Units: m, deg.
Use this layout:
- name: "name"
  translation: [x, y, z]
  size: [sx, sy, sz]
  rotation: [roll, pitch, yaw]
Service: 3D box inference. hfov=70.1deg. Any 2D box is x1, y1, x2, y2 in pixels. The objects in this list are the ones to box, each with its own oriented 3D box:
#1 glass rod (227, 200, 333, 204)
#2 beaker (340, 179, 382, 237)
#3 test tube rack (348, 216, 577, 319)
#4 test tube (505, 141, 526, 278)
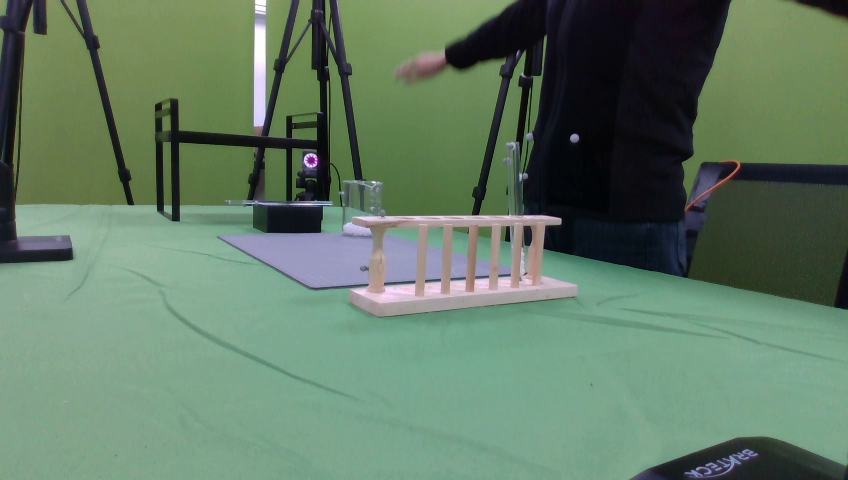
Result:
- name: "glass rod"
  translation: [-0.268, -0.071, 1.143]
  size: [0.201, 0.008, 0.008]
  rotation: [-1, 8, -29]
- name: "beaker"
  translation: [-0.113, -0.058, 1.094]
  size: [0.074, 0.100, 0.083]
  rotation: [-2, 10, -29]
- name: "test tube rack"
  translation: [0.048, 0.021, 0.619]
  size: [0.244, 0.085, 0.066]
  rotation: [-2, 9, -31]
- name: "test tube"
  translation: [0.101, -0.032, 0.664]
  size: [0.017, 0.150, 0.017]
  rotation: [-4, 8, 1]
